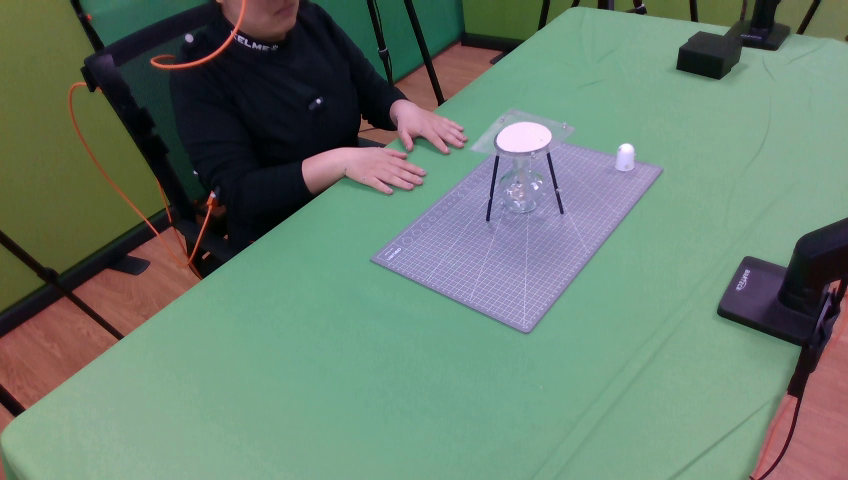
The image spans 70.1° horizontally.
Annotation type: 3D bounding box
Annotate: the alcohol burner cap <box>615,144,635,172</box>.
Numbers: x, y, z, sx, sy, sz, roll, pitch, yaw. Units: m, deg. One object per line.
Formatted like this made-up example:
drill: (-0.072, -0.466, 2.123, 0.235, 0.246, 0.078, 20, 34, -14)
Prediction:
alcohol burner cap: (0.357, -0.147, 1.069, 0.034, 0.048, 0.033, -7, 40, 6)

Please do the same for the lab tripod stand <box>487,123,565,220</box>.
lab tripod stand: (0.162, -0.110, 0.992, 0.148, 0.132, 0.147, -5, 42, 5)

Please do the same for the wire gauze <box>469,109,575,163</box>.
wire gauze: (0.154, -0.163, 0.950, 0.120, 0.011, 0.125, 22, 50, 32)

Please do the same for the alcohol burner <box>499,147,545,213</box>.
alcohol burner: (0.161, -0.104, 1.001, 0.078, 0.120, 0.077, -6, 42, 6)
